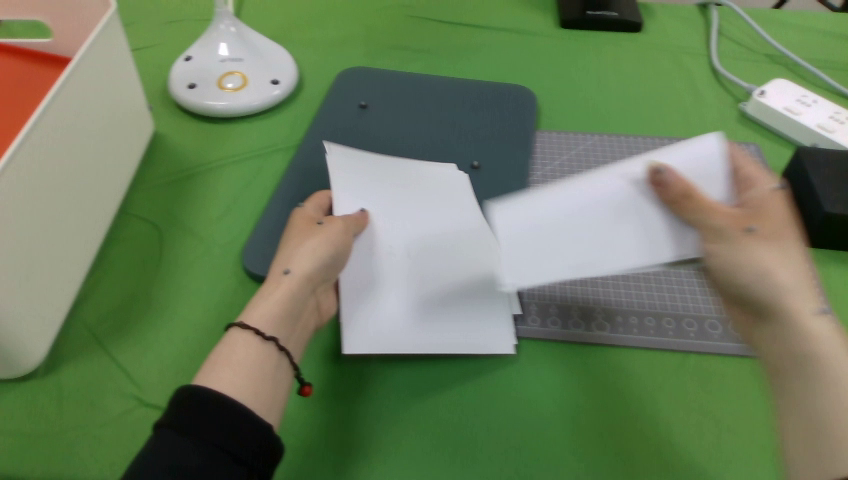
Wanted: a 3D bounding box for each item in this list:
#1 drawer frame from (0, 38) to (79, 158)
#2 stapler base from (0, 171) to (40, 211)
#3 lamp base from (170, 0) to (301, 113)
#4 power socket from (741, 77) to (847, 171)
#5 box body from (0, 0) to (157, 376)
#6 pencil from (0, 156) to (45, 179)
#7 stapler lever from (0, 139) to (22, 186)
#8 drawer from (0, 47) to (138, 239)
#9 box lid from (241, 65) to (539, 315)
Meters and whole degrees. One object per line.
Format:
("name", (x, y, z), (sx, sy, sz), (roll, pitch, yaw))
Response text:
("drawer frame", (-0.410, -0.109, 0.579), (0.202, 0.083, 0.211), (10, 38, -10))
("stapler base", (-0.422, -0.065, 0.554), (0.130, 0.024, 0.041), (20, 36, 3))
("lamp base", (-0.242, -0.272, 0.722), (0.161, 0.182, 0.177), (-14, 47, -14))
("power socket", (0.487, -0.123, 0.706), (0.072, 0.033, 0.224), (-29, 54, -25))
("box body", (-0.427, -0.066, 0.545), (0.254, 0.162, 0.360), (1, 48, -1))
("pencil", (-0.428, -0.086, 0.577), (0.193, 0.012, 0.012), (20, 51, 19))
("stapler lever", (-0.417, -0.083, 0.539), (0.118, 0.040, 0.026), (20, 36, 2))
("drawer", (-0.409, -0.106, 0.578), (0.195, 0.074, 0.209), (10, 39, -10))
("box lid", (-0.017, -0.080, 0.669), (0.263, 0.015, 0.368), (9, 48, 8))
